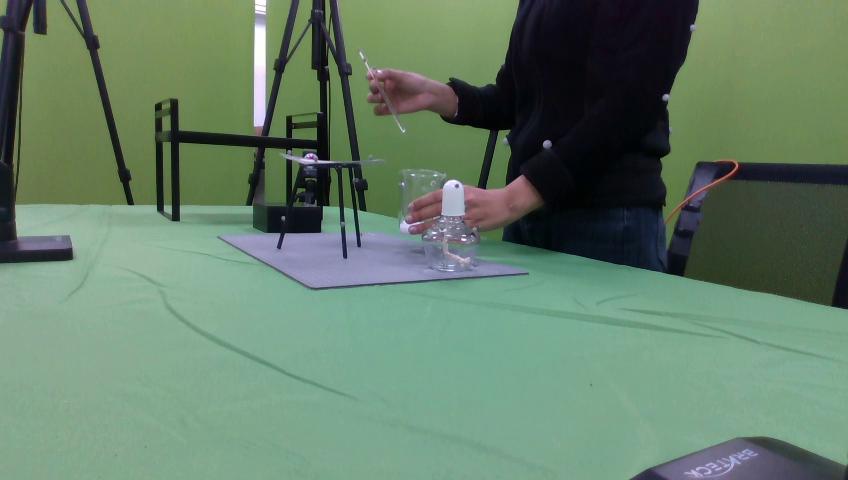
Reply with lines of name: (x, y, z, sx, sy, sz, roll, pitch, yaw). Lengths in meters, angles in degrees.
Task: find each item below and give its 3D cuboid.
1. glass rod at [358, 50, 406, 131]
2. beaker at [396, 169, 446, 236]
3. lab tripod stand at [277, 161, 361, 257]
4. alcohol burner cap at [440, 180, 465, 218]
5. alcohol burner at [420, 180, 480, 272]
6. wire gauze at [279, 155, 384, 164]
glass rod: (-0.076, -0.268, 1.074, 0.008, 0.199, 0.008, -23, -24, -11)
beaker: (-0.003, -0.056, 0.934, 0.083, 0.100, 0.074, 3, 1, 38)
lab tripod stand: (-0.143, -0.049, 0.884, 0.148, 0.131, 0.148, 1, 9, 0)
alcohol burner cap: (0.038, -0.054, 0.781, 0.034, 0.048, 0.034, 1, 13, 0)
alcohol burner: (0.035, -0.018, 0.785, 0.078, 0.119, 0.078, 3, 6, 0)
wire gauze: (-0.134, -0.114, 0.875, 0.122, 0.011, 0.124, -1, 9, -30)
